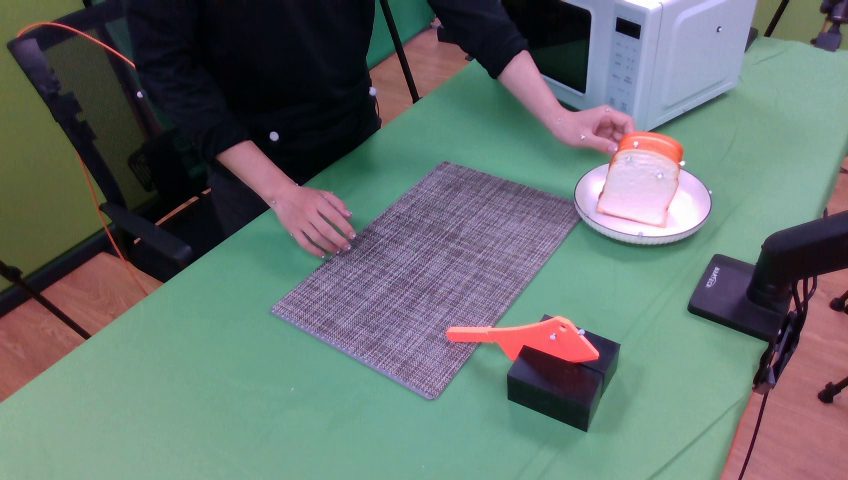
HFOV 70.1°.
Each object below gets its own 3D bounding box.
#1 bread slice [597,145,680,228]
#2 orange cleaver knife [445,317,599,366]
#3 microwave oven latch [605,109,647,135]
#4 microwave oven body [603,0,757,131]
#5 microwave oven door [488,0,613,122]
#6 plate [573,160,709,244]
[{"bbox_3d":[0.326,-0.083,0.917,0.106,0.135,0.018,13,45,18],"label":"bread slice"},{"bbox_3d":[0.115,0.129,0.751,0.210,0.077,0.012,-11,30,45],"label":"orange cleaver knife"},{"bbox_3d":[0.378,-0.225,1.139,0.030,0.029,0.078,-26,43,-20],"label":"microwave oven latch"},{"bbox_3d":[0.396,-0.448,1.248,0.327,0.261,0.437,-27,44,-21],"label":"microwave oven body"},{"bbox_3d":[0.251,-0.412,1.219,0.039,0.245,0.352,-27,44,-21],"label":"microwave oven door"},{"bbox_3d":[0.347,-0.059,0.978,0.207,0.039,0.206,-4,41,4],"label":"plate"}]
